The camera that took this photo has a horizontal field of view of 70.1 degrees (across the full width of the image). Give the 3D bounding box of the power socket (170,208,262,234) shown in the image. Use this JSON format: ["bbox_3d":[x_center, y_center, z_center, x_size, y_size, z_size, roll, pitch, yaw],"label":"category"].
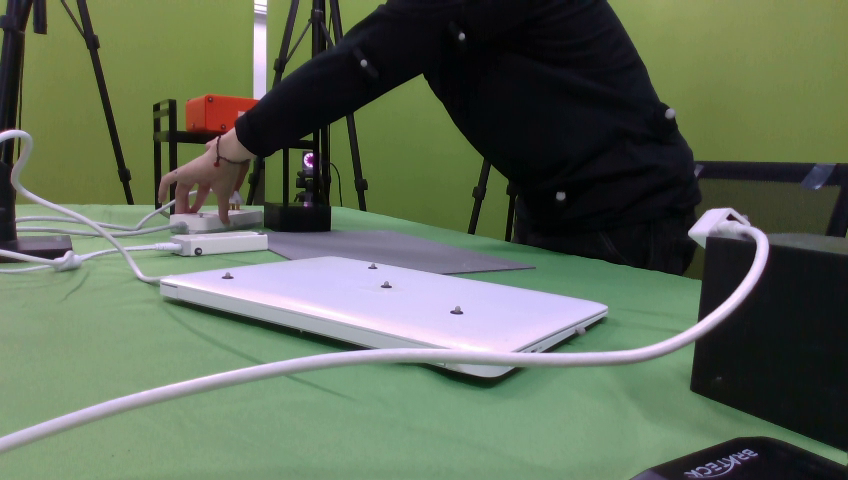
[{"bbox_3d":[-0.380,-0.037,1.127,0.072,0.032,0.227,4,8,14],"label":"power socket"}]

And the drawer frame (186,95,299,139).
[{"bbox_3d":[-0.417,-0.277,1.378,0.203,0.082,0.212,-3,8,-32],"label":"drawer frame"}]

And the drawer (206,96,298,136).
[{"bbox_3d":[-0.413,-0.275,1.376,0.195,0.073,0.210,-3,8,-31],"label":"drawer"}]

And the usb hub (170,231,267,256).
[{"bbox_3d":[-0.290,0.005,0.862,0.049,0.025,0.126,11,12,42],"label":"usb hub"}]

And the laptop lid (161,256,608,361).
[{"bbox_3d":[-0.037,0.046,0.555,0.355,0.013,0.243,8,8,35],"label":"laptop lid"}]

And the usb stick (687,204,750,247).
[{"bbox_3d":[0.214,-0.010,0.448,0.021,0.027,0.059,39,2,6],"label":"usb stick"}]

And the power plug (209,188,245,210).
[{"bbox_3d":[-0.389,-0.077,1.205,0.072,0.052,0.035,0,2,25],"label":"power plug"}]

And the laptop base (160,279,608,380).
[{"bbox_3d":[-0.038,0.059,0.555,0.352,0.023,0.237,8,7,33],"label":"laptop base"}]

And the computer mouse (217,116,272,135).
[{"bbox_3d":[-0.401,-0.257,1.353,0.118,0.041,0.062,-5,14,-34],"label":"computer mouse"}]
